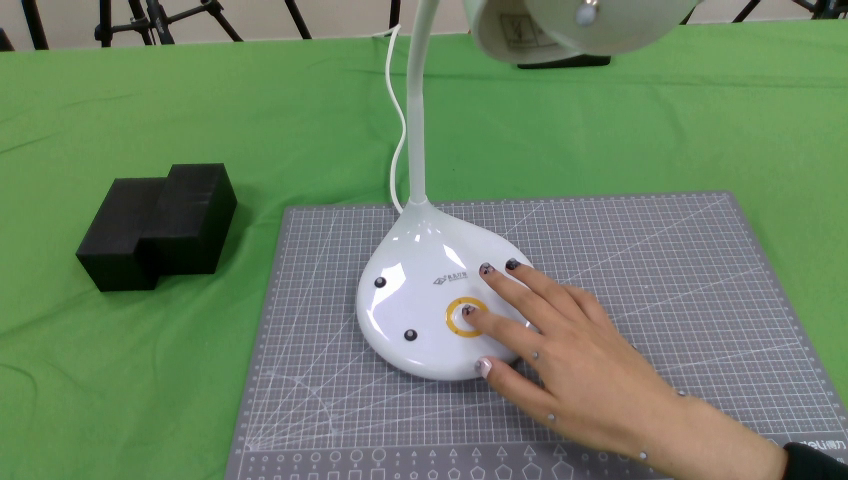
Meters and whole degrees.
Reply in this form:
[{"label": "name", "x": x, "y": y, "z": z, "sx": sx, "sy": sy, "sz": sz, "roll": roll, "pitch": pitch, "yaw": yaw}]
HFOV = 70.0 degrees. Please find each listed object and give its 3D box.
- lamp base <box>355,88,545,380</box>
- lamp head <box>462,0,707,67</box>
[{"label": "lamp base", "x": 0.012, "y": -0.012, "z": 0.466, "sx": 0.161, "sy": 0.182, "sz": 0.177, "roll": -23, "pitch": 47, "yaw": -18}, {"label": "lamp head", "x": 0.050, "y": -0.135, "z": 0.203, "sx": 0.112, "sy": 0.113, "sz": 0.122, "roll": -17, "pitch": 78, "yaw": -13}]
